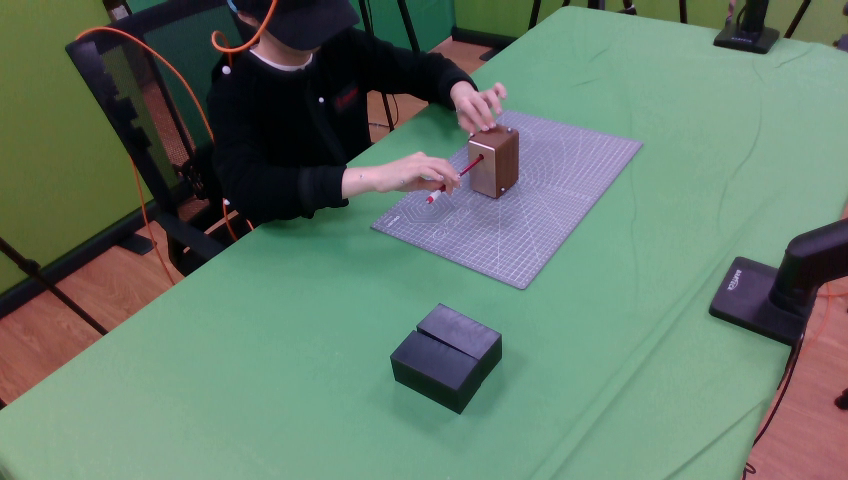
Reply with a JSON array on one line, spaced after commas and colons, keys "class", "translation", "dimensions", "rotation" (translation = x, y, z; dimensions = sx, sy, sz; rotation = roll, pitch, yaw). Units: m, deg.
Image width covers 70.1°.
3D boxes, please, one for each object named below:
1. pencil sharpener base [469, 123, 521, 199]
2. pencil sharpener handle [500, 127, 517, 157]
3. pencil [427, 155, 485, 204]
[{"class": "pencil sharpener base", "translation": [0.126, -0.138, 1.050], "dimensions": [0.061, 0.107, 0.077], "rotation": [24, 50, 33]}, {"class": "pencil sharpener handle", "translation": [0.153, -0.178, 1.072], "dimensions": [0.036, 0.068, 0.031], "rotation": [38, 55, 17]}, {"class": "pencil", "translation": [0.069, -0.112, 0.989], "dimensions": [0.012, 0.012, 0.194], "rotation": [26, 51, 33]}]
